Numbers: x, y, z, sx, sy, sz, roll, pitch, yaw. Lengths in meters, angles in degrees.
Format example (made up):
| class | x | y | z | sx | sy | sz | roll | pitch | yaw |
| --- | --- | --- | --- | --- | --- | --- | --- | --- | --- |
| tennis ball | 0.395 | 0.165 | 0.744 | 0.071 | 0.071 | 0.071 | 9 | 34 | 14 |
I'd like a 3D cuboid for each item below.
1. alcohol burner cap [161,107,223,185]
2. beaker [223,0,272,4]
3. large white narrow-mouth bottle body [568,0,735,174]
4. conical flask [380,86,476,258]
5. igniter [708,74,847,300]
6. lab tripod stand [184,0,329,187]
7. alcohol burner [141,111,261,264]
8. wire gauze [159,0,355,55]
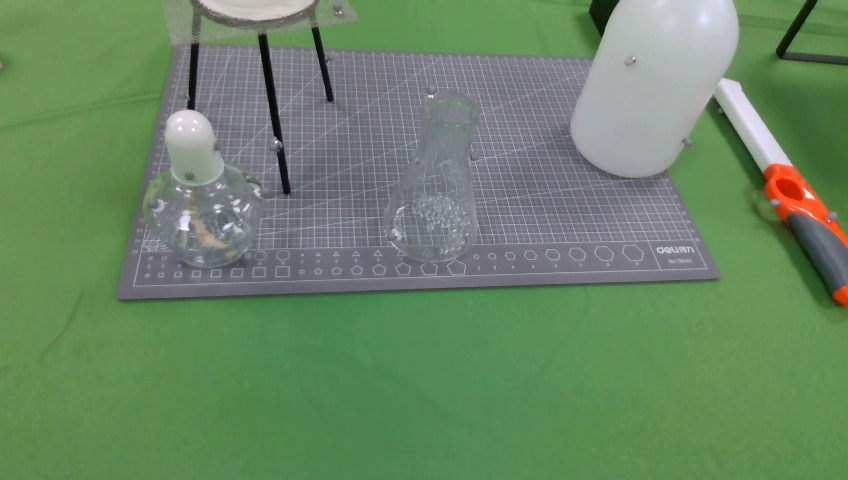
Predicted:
| class | x | y | z | sx | sy | sz | roll | pitch | yaw |
| --- | --- | --- | --- | --- | --- | --- | --- | --- | --- |
| alcohol burner cap | -0.145 | -0.060 | 0.374 | 0.034 | 0.048 | 0.033 | 4 | 56 | -6 |
| beaker | -0.121 | -0.212 | 0.386 | 0.084 | 0.101 | 0.073 | -6 | 54 | -13 |
| large white narrow-mouth bottle body | 0.191 | -0.153 | 0.497 | 0.102 | 0.196 | 0.101 | 4 | 51 | -4 |
| conical flask | 0.009 | -0.049 | 0.431 | 0.075 | 0.123 | 0.074 | 4 | 51 | -5 |
| igniter | 0.325 | -0.061 | 0.555 | 0.057 | 0.025 | 0.273 | 7 | 50 | -17 |
| lab tripod stand | -0.126 | -0.136 | 0.473 | 0.149 | 0.132 | 0.147 | 6 | 51 | -7 |
| alcohol burner | -0.149 | -0.038 | 0.403 | 0.078 | 0.120 | 0.077 | 6 | 49 | -6 |
| wire gauze | -0.123 | -0.179 | 0.423 | 0.122 | 0.011 | 0.124 | -14 | 59 | -17 |
